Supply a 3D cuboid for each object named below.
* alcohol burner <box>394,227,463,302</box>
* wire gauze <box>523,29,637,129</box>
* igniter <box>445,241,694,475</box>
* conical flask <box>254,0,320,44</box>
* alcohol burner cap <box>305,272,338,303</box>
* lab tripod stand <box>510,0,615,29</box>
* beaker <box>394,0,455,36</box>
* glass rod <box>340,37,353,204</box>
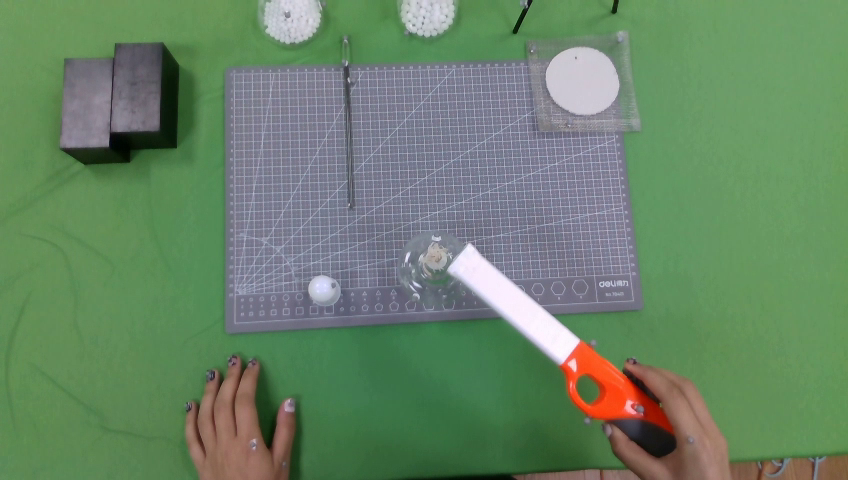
[{"bbox_3d":[0.009,0.022,0.606,0.078,0.119,0.077,0,81,-3],"label":"alcohol burner"},{"bbox_3d":[0.183,-0.187,0.707,0.125,0.011,0.121,-4,80,-4],"label":"wire gauze"},{"bbox_3d":[0.130,0.103,0.526,0.276,0.025,0.057,41,81,-2],"label":"igniter"},{"bbox_3d":[-0.155,-0.271,0.648,0.075,0.122,0.075,1,79,-3],"label":"conical flask"},{"bbox_3d":[-0.108,0.047,0.631,0.034,0.048,0.033,1,80,-3],"label":"alcohol burner cap"},{"bbox_3d":[0.159,-0.310,0.667,0.148,0.132,0.148,1,81,-3],"label":"lab tripod stand"},{"bbox_3d":[0.001,-0.283,0.671,0.074,0.100,0.083,0,78,-3],"label":"beaker"},{"bbox_3d":[-0.088,-0.137,0.681,0.008,0.008,0.199,-3,80,-4],"label":"glass rod"}]
